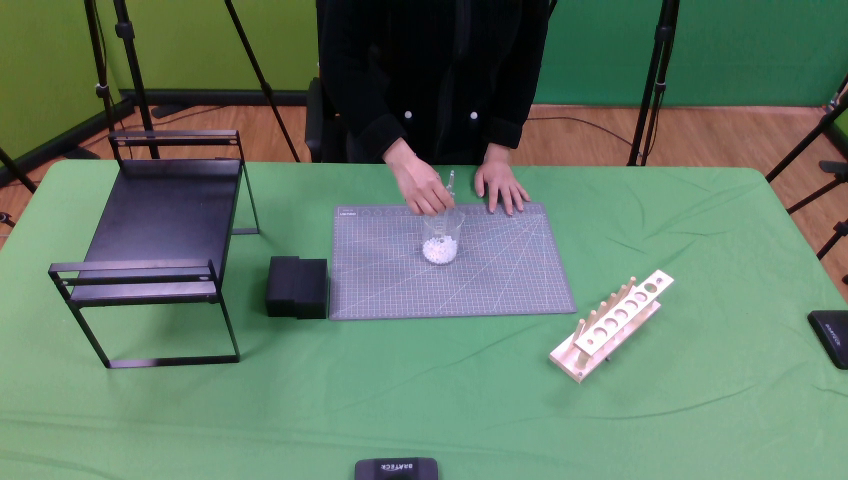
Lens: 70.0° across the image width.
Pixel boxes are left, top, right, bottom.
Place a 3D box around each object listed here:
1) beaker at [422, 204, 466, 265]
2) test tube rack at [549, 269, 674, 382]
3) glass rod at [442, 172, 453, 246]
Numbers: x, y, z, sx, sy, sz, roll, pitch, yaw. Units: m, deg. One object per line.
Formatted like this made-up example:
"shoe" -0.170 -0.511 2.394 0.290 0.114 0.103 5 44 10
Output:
"beaker" 0.035 -0.008 1.151 0.084 0.101 0.073 -9 48 -13
"test tube rack" 0.325 0.134 1.047 0.242 0.085 0.066 -32 56 -30
"glass rod" 0.043 -0.052 1.120 0.008 0.200 0.008 2 50 -2
